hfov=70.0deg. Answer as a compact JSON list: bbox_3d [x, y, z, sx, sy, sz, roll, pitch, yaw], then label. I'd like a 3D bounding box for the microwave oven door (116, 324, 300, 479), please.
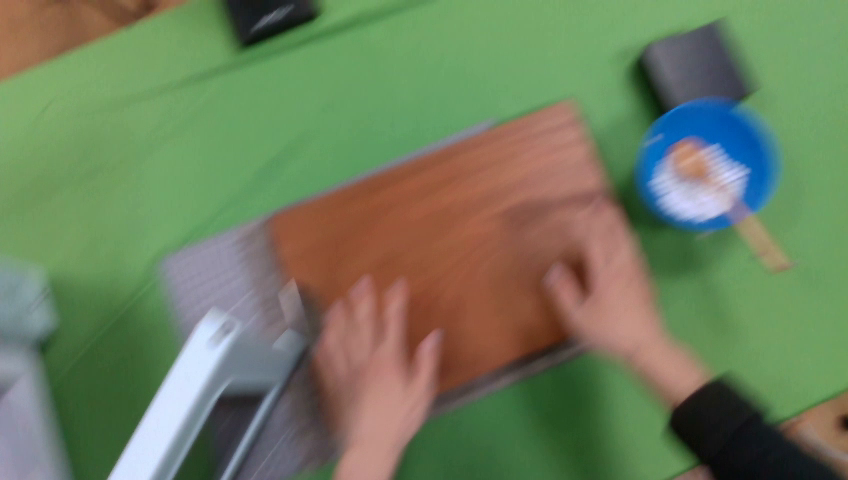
[{"bbox_3d":[-0.242,0.249,0.568,0.039,0.245,0.355,25,79,7],"label":"microwave oven door"}]

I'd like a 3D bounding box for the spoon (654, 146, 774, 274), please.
[{"bbox_3d":[0.327,-0.038,0.688,0.041,0.022,0.191,-24,55,-5],"label":"spoon"}]

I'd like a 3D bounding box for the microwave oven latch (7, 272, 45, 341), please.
[{"bbox_3d":[-0.478,0.079,0.714,0.030,0.029,0.079,-26,79,-5],"label":"microwave oven latch"}]

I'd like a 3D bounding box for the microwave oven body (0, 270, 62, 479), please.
[{"bbox_3d":[-0.539,0.274,0.573,0.326,0.261,0.439,-25,79,-5],"label":"microwave oven body"}]

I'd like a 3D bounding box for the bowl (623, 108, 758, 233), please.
[{"bbox_3d":[0.307,-0.074,0.727,0.151,0.077,0.150,0,78,1],"label":"bowl"}]
